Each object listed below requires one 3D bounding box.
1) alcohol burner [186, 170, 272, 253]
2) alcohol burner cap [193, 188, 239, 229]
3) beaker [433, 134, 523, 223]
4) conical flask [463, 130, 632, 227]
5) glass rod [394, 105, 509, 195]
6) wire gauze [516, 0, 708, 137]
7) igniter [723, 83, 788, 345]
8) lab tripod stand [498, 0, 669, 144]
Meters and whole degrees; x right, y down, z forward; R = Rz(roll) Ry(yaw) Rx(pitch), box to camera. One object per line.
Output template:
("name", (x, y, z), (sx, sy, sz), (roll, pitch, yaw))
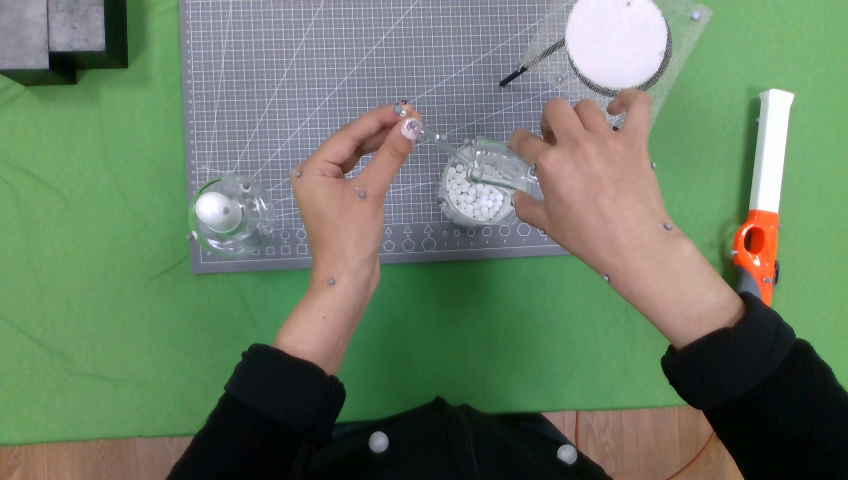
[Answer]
("alcohol burner", (-0.181, -0.026, 0.549), (0.078, 0.119, 0.078), (0, 90, -3))
("alcohol burner cap", (-0.178, -0.029, 0.513), (0.034, 0.048, 0.034), (1, 82, -6))
("beaker", (0.048, -0.051, 0.575), (0.074, 0.100, 0.084), (-39, 92, -3))
("conical flask", (0.093, -0.056, 0.478), (0.122, 0.075, 0.075), (10, 88, -7))
("glass rod", (0.030, -0.066, 0.491), (0.008, 0.201, 0.008), (-8, 74, 28))
("wire gauze", (0.155, -0.168, 0.501), (0.125, 0.011, 0.121), (29, 89, -3))
("igniter", (0.349, -0.025, 0.637), (0.057, 0.025, 0.276), (8, 89, -15))
("lab tripod stand", (0.153, -0.165, 0.567), (0.148, 0.131, 0.148), (0, 90, -3))
